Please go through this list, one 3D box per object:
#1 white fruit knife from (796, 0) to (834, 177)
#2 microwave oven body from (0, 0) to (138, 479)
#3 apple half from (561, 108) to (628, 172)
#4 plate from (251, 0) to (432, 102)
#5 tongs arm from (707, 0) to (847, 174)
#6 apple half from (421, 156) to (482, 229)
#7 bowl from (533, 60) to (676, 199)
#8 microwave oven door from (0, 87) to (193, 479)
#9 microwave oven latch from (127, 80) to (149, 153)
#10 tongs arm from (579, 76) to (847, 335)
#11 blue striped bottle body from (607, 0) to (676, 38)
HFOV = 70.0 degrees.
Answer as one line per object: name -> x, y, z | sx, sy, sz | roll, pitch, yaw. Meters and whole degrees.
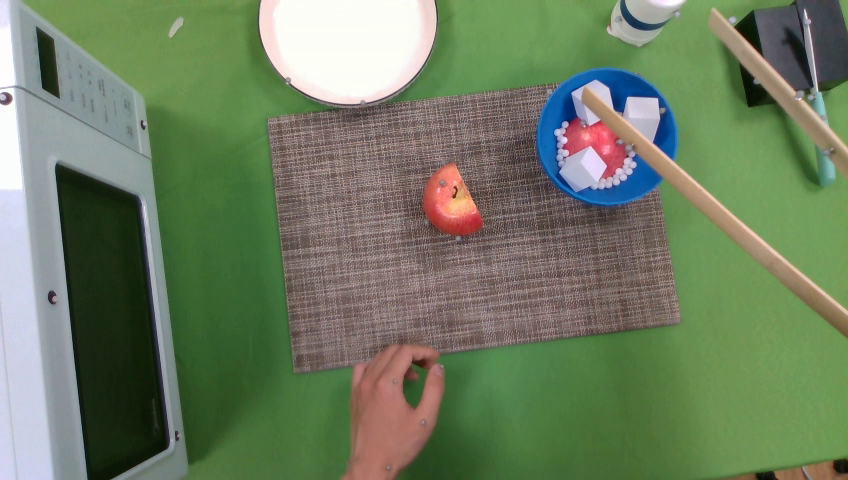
white fruit knife -> 0.442, -0.170, 0.688 | 0.016, 0.027, 0.208 | -14, 102, 16
microwave oven body -> -0.450, 0.050, 0.568 | 0.326, 0.260, 0.440 | -9, 86, -2
apple half -> 0.194, -0.114, 0.677 | 0.081, 0.033, 0.081 | 0, 83, 2
plate -> -0.095, -0.260, 0.714 | 0.208, 0.039, 0.207 | 0, 85, -1
tongs arm -> 0.326, -0.051, 0.481 | 0.051, 0.027, 0.381 | -27, 67, -2
apple half -> 0.025, -0.046, 0.676 | 0.053, 0.074, 0.081 | -28, 89, 3
bowl -> 0.192, -0.115, 0.681 | 0.151, 0.077, 0.151 | 0, 85, 0
microwave oven door -> -0.299, 0.068, 0.564 | 0.039, 0.244, 0.355 | -10, 85, -1
microwave oven latch -> -0.332, -0.137, 0.681 | 0.030, 0.029, 0.079 | -9, 86, -2
tongs arm -> 0.261, -0.010, 0.478 | 0.028, 0.028, 0.384 | -37, 67, -10
blue striped bottle body -> 0.252, -0.280, 0.678 | 0.063, 0.121, 0.063 | 0, 84, 0
